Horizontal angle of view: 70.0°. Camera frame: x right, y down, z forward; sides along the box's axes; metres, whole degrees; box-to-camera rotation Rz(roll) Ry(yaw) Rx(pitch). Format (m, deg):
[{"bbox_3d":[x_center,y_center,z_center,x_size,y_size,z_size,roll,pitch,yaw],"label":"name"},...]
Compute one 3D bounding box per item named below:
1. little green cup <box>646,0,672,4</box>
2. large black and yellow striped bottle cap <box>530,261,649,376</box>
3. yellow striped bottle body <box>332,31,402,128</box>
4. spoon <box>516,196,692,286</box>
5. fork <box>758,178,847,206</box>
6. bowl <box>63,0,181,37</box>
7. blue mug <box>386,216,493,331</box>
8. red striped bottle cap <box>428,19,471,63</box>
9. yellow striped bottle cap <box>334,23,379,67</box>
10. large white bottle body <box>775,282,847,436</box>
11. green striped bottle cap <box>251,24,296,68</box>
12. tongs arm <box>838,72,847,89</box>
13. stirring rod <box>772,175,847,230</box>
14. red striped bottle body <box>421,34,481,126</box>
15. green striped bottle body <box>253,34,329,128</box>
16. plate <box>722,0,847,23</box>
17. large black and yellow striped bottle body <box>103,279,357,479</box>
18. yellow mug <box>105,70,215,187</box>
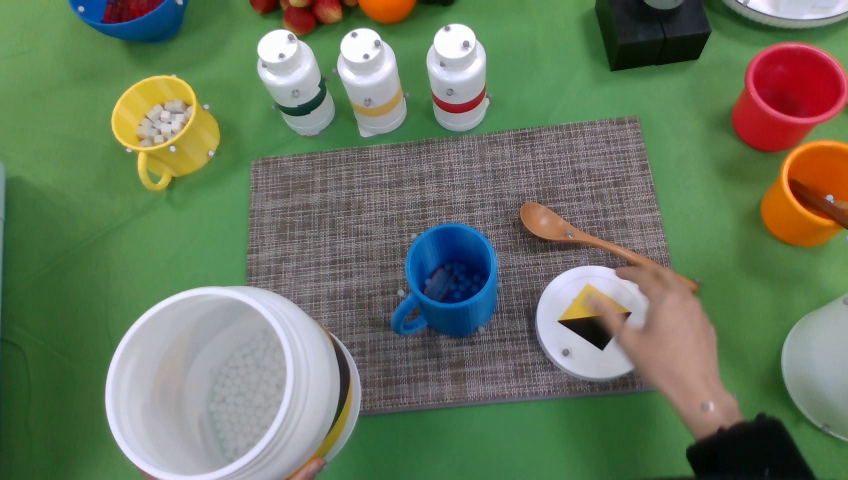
[{"bbox_3d":[0.263,-0.295,0.669,0.061,0.039,0.061,-1,67,4],"label":"little green cup"},{"bbox_3d":[0.164,0.076,0.602,0.115,0.019,0.114,-2,68,4],"label":"large black and yellow striped bottle cap"},{"bbox_3d":[-0.063,-0.182,0.670,0.063,0.121,0.062,-2,68,6],"label":"yellow striped bottle body"},{"bbox_3d":[0.183,0.003,0.625,0.193,0.022,0.041,24,51,13],"label":"spoon"},{"bbox_3d":[0.402,-0.031,0.551,0.028,0.019,0.205,-33,25,-15],"label":"fork"},{"bbox_3d":[-0.368,-0.316,0.773,0.151,0.077,0.150,-2,69,5],"label":"bowl"},{"bbox_3d":[0.012,0.045,0.581,0.116,0.106,0.082,-38,69,-8],"label":"blue mug"},{"bbox_3d":[0.026,-0.202,0.612,0.044,0.018,0.044,-1,67,2],"label":"red striped bottle cap"},{"bbox_3d":[-0.069,-0.200,0.621,0.044,0.019,0.044,-1,66,2],"label":"yellow striped bottle cap"},{"bbox_3d":[0.388,0.088,0.489,0.130,0.186,0.129,-2,69,5],"label":"large white bottle body"},{"bbox_3d":[-0.156,-0.202,0.631,0.044,0.020,0.044,-1,68,4],"label":"green striped bottle cap"},{"bbox_3d":[0.600,-0.064,0.605,0.051,0.027,0.382,-40,71,-13],"label":"tongs arm"},{"bbox_3d":[0.374,-0.029,0.561,0.014,0.006,0.175,-3,26,1],"label":"stirring rod"},{"bbox_3d":[0.031,-0.182,0.661,0.063,0.120,0.062,-2,68,5],"label":"red striped bottle body"},{"bbox_3d":[-0.150,-0.183,0.679,0.063,0.120,0.062,-2,69,5],"label":"green striped bottle body"},{"bbox_3d":[0.428,-0.341,0.725,0.209,0.038,0.207,-2,70,5],"label":"plate"},{"bbox_3d":[-0.124,0.101,0.426,0.131,0.185,0.130,-1,73,2],"label":"large black and yellow striped bottle body"},{"bbox_3d":[-0.307,-0.123,0.701,0.100,0.064,0.130,3,70,7],"label":"yellow mug"}]
